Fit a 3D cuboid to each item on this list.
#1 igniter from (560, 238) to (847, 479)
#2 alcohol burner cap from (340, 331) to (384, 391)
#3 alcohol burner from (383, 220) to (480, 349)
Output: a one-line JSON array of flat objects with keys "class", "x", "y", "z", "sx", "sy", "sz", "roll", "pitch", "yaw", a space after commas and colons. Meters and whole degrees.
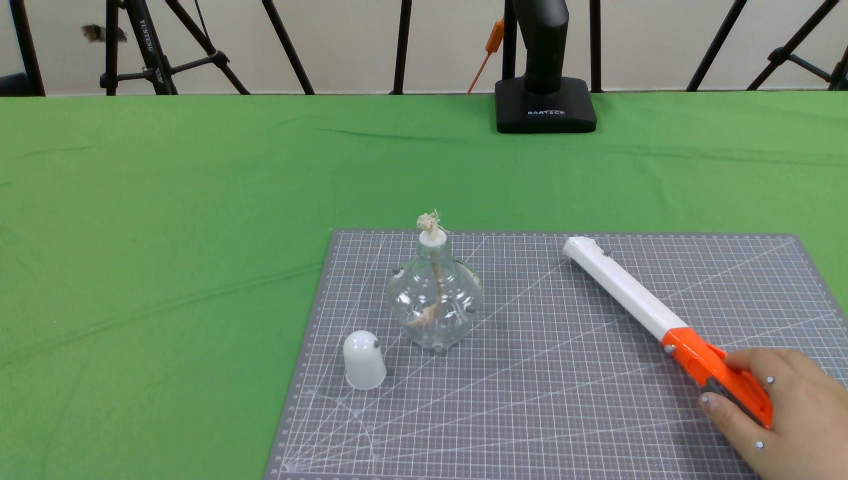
[{"class": "igniter", "x": 0.201, "y": 0.082, "z": 0.467, "sx": 0.057, "sy": 0.025, "sz": 0.273, "roll": 2, "pitch": 33, "yaw": -34}, {"class": "alcohol burner cap", "x": -0.049, "y": 0.089, "z": 0.463, "sx": 0.034, "sy": 0.048, "sz": 0.033, "roll": -1, "pitch": 42, "yaw": 1}, {"class": "alcohol burner", "x": 0.006, "y": 0.030, "z": 0.473, "sx": 0.078, "sy": 0.120, "sz": 0.077, "roll": 0, "pitch": 42, "yaw": 0}]
